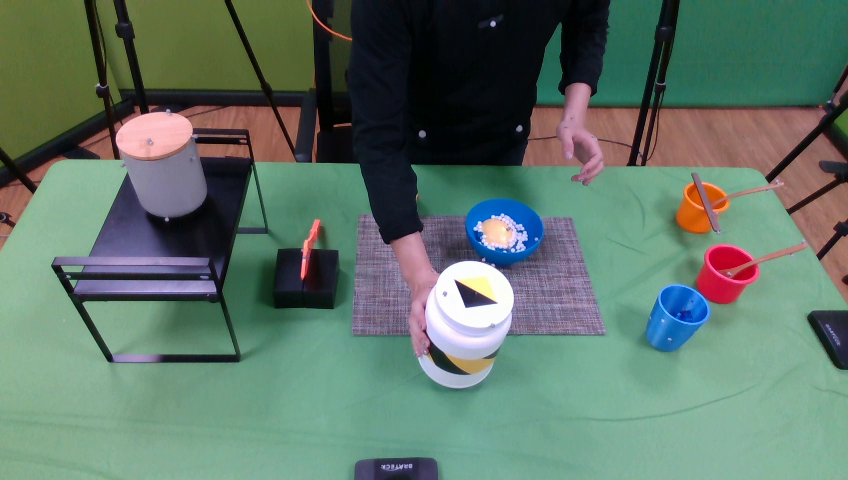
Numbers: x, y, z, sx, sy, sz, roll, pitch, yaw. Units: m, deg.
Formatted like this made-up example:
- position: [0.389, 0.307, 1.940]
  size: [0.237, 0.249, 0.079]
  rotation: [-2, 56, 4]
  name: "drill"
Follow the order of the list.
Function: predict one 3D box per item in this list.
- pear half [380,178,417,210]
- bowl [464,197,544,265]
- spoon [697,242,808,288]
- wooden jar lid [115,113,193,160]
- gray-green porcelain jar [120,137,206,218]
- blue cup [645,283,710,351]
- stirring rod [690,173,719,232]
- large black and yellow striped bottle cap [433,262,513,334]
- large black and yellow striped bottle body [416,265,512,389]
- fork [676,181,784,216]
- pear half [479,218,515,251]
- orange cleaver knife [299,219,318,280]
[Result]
- position: [-0.046, -0.092, 1.263]
  size: [0.076, 0.056, 0.109]
  rotation: [-22, 8, 18]
  name: "pear half"
- position: [0.149, -0.004, 1.167]
  size: [0.151, 0.077, 0.150]
  rotation: [2, 46, -2]
  name: "bowl"
- position: [0.601, 0.045, 1.116]
  size: [0.194, 0.022, 0.041]
  rotation: [-29, 34, 30]
  name: "spoon"
- position: [-0.399, -0.151, 0.900]
  size: [0.108, 0.021, 0.107]
  rotation: [3, 46, -3]
  name: "wooden jar lid"
- position: [-0.403, -0.106, 0.946]
  size: [0.106, 0.127, 0.105]
  rotation: [3, 46, -2]
  name: "gray-green porcelain jar"
- position: [0.426, 0.139, 1.041]
  size: [0.093, 0.100, 0.092]
  rotation: [4, 46, -3]
  name: "blue cup"
- position: [0.566, -0.080, 1.225]
  size: [0.014, 0.006, 0.175]
  rotation: [2, 46, 2]
  name: "stirring rod"
- position: [0.070, 0.081, 0.867]
  size: [0.115, 0.019, 0.114]
  rotation: [6, 50, -7]
  name: "large black and yellow striped bottle cap"
- position: [0.062, 0.133, 0.932]
  size: [0.131, 0.185, 0.130]
  rotation: [4, 51, -5]
  name: "large black and yellow striped bottle body"
- position: [0.618, -0.084, 1.235]
  size: [0.207, 0.019, 0.028]
  rotation: [-23, 21, 38]
  name: "fork"
- position: [0.145, -0.013, 1.167]
  size: [0.070, 0.031, 0.087]
  rotation: [-20, 55, -20]
  name: "pear half"
- position: [-0.215, 0.013, 1.125]
  size: [0.012, 0.077, 0.210]
  rotation: [5, 17, -6]
  name: "orange cleaver knife"
